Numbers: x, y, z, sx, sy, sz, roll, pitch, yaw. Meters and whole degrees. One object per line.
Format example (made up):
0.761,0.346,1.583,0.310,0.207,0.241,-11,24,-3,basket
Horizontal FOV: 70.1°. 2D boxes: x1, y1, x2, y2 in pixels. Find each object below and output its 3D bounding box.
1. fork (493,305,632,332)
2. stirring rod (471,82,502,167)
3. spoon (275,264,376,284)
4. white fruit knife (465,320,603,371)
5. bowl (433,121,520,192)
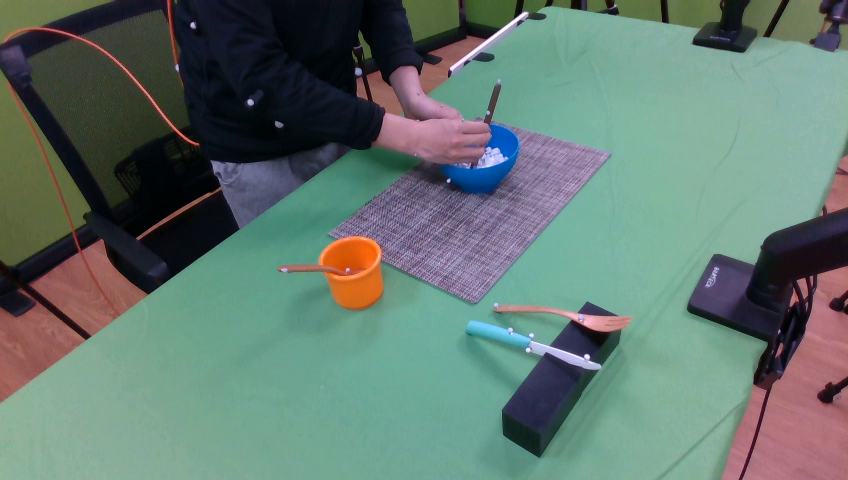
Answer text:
0.171,0.097,0.783,0.205,0.019,0.028,4,41,43,fork
0.100,-0.180,1.013,0.014,0.176,0.005,-19,46,-41,stirring rod
-0.133,0.044,0.839,0.041,0.195,0.021,25,95,33,spoon
0.128,0.129,0.749,0.205,0.027,0.016,10,44,43,white fruit knife
0.094,-0.137,1.064,0.151,0.077,0.150,-4,41,4,bowl
